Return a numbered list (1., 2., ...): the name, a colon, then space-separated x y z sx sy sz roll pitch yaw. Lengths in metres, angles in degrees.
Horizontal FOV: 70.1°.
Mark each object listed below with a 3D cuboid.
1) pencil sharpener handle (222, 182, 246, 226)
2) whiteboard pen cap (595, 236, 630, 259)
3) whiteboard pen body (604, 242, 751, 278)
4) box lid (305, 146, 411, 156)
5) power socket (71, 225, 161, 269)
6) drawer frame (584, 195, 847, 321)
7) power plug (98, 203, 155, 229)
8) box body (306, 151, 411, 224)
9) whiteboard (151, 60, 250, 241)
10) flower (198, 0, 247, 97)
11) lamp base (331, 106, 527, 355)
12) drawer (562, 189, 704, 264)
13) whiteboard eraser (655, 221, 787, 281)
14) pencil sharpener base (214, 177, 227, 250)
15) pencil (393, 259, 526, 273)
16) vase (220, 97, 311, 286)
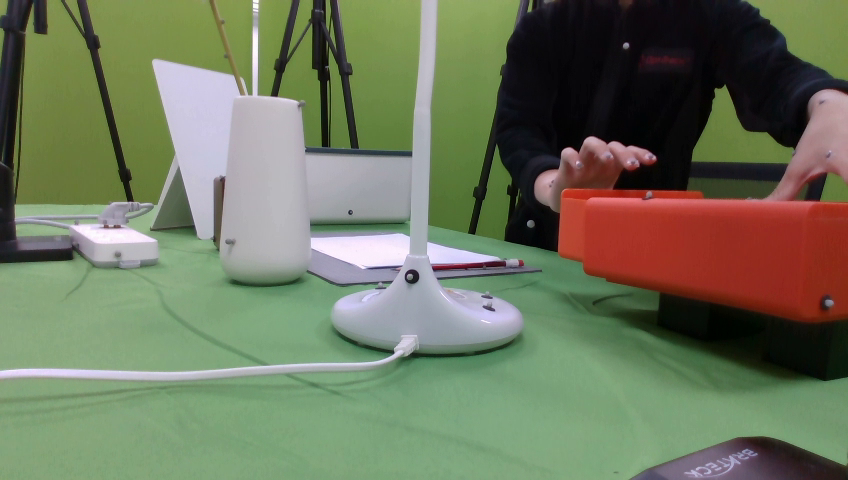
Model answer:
1. pencil sharpener handle: -0.289 -0.055 0.912 0.036 0.067 0.030 -3 9 -29
2. whiteboard pen cap: 0.187 0.008 0.597 0.018 0.018 0.033 -3 17 -37
3. whiteboard pen body: 0.225 0.015 0.552 0.017 0.017 0.140 -4 10 -38
4. box lid: -0.229 -0.200 1.360 0.373 0.015 0.262 -3 9 -33
5. power socket: -0.408 0.004 0.793 0.072 0.032 0.225 -2 8 -38
6. drawer frame: 0.283 0.003 0.513 0.203 0.082 0.212 0 5 -25
7. power plug: -0.416 -0.026 0.848 0.073 0.052 0.035 1 8 -28
8. box body: -0.230 -0.126 1.371 0.366 0.160 0.253 -2 8 -33
9. whiteboard: -0.408 -0.139 1.093 0.143 0.305 0.218 -15 0 25
10. flower: -0.187 -0.133 0.648 0.038 0.362 0.044 -1 22 43
11. lamp base: 0.006 -0.012 0.478 0.161 0.180 0.179 2 10 2
12. drawer: 0.266 -0.003 0.550 0.195 0.073 0.211 0 8 -25
13. whiteboard eraser: 0.287 0.009 0.592 0.056 0.042 0.112 -5 16 -23
14. pencil sharpener base: -0.265 -0.036 0.870 0.061 0.107 0.076 -2 8 -29
15. pencil: 0.049 0.035 0.782 0.195 0.012 0.012 -3 9 -25
16. vase: -0.172 -0.052 0.662 0.098 0.200 0.098 3 8 0
